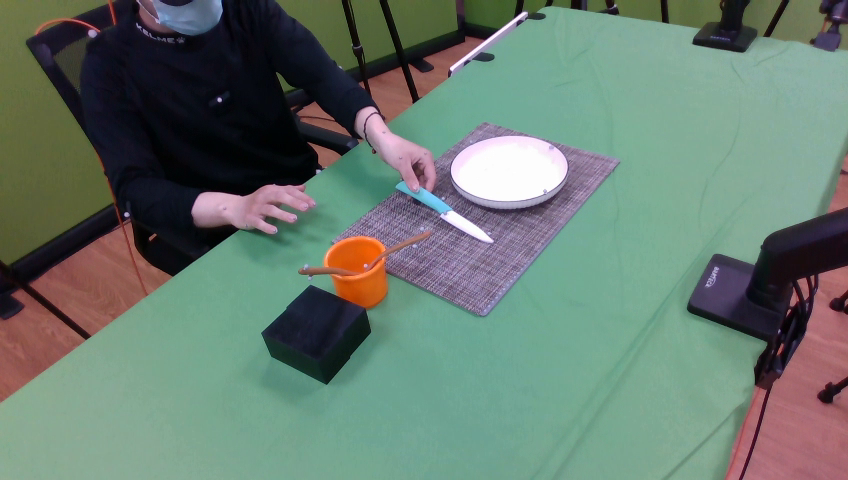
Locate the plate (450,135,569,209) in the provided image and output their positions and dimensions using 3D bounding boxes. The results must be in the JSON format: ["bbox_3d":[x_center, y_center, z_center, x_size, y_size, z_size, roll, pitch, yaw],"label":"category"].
[{"bbox_3d":[0.149,-0.117,1.065,0.209,0.038,0.208,-3,41,3],"label":"plate"}]

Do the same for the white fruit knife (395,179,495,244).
[{"bbox_3d":[0.035,-0.048,1.003,0.206,0.016,0.027,35,73,25],"label":"white fruit knife"}]

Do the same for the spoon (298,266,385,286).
[{"bbox_3d":[-0.112,0.047,0.826,0.041,0.195,0.021,-25,71,23],"label":"spoon"}]

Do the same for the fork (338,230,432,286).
[{"bbox_3d":[-0.058,0.028,0.846,0.206,0.018,0.028,-34,5,43],"label":"fork"}]
